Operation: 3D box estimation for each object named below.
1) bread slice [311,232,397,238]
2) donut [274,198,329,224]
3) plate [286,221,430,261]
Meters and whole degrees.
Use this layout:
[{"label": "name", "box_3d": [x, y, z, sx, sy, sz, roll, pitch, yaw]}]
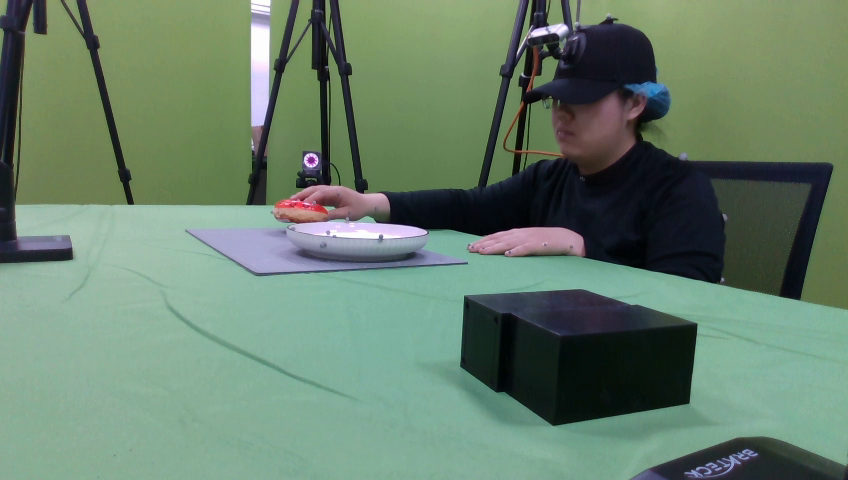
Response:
[{"label": "bread slice", "box_3d": [-0.101, 0.002, 0.885, 0.135, 0.018, 0.106, -3, 8, -38]}, {"label": "donut", "box_3d": [-0.222, -0.050, 1.098, 0.099, 0.048, 0.099, 7, 1, 0]}, {"label": "plate", "box_3d": [-0.096, 0.001, 0.886, 0.209, 0.038, 0.209, 2, 7, 0]}]
